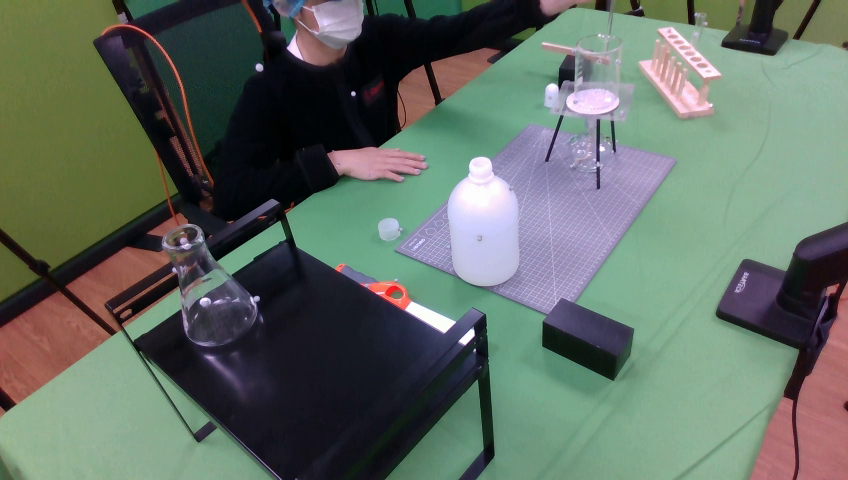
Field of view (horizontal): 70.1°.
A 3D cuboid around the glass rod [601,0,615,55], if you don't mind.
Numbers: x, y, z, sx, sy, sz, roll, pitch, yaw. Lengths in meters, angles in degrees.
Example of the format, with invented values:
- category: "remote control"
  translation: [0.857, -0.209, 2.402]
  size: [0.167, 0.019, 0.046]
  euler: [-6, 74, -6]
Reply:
- category: "glass rod"
  translation: [0.299, -0.394, 0.950]
  size: [0.008, 0.200, 0.008]
  euler: [3, 23, -1]

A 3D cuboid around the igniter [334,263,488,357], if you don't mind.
- category: "igniter"
  translation: [-0.030, 0.095, 0.872]
  size: [0.274, 0.025, 0.057]
  euler: [23, 60, 31]

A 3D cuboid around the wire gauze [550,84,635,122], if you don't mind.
- category: "wire gauze"
  translation: [0.285, -0.234, 1.021]
  size: [0.124, 0.011, 0.121]
  euler: [8, 41, 24]

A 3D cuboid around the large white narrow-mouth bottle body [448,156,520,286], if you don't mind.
- category: "large white narrow-mouth bottle body"
  translation: [0.086, -0.032, 0.869]
  size: [0.102, 0.195, 0.101]
  euler: [-4, 40, 4]

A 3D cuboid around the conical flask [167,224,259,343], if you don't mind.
- category: "conical flask"
  translation: [-0.220, 0.041, 0.613]
  size: [0.075, 0.122, 0.075]
  euler: [-5, 40, 4]

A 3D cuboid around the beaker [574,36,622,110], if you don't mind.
- category: "beaker"
  translation: [0.285, -0.273, 0.990]
  size: [0.073, 0.101, 0.084]
  euler: [15, 46, 27]

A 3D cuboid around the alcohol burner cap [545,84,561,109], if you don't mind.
- category: "alcohol burner cap"
  translation: [0.274, -0.308, 1.285]
  size: [0.034, 0.048, 0.033]
  euler: [-5, 42, 5]

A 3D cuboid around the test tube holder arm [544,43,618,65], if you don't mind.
- category: "test tube holder arm"
  translation: [0.345, -0.413, 1.341]
  size: [0.177, 0.015, 0.013]
  euler: [26, 49, 32]

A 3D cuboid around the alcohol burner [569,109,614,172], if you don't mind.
- category: "alcohol burner"
  translation: [0.298, -0.181, 1.073]
  size: [0.078, 0.119, 0.077]
  euler: [-5, 43, 5]

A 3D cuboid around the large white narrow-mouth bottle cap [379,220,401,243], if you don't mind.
- category: "large white narrow-mouth bottle cap"
  translation: [-0.057, -0.015, 1.011]
  size: [0.038, 0.024, 0.037]
  euler: [-4, 40, 4]

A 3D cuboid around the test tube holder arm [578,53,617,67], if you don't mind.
- category: "test tube holder arm"
  translation: [0.376, -0.394, 1.314]
  size: [0.087, 0.015, 0.010]
  euler: [26, 50, 32]

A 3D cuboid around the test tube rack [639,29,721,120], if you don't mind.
- category: "test tube rack"
  translation: [0.527, -0.351, 1.262]
  size: [0.067, 0.085, 0.241]
  euler: [-8, 40, 1]

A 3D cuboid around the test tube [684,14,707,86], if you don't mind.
- category: "test tube"
  translation: [0.541, -0.379, 1.215]
  size: [0.017, 0.151, 0.017]
  euler: [-2, 43, 2]

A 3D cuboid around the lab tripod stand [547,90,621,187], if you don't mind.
- category: "lab tripod stand"
  translation: [0.289, -0.184, 1.062]
  size: [0.148, 0.132, 0.147]
  euler: [-6, 41, 6]
